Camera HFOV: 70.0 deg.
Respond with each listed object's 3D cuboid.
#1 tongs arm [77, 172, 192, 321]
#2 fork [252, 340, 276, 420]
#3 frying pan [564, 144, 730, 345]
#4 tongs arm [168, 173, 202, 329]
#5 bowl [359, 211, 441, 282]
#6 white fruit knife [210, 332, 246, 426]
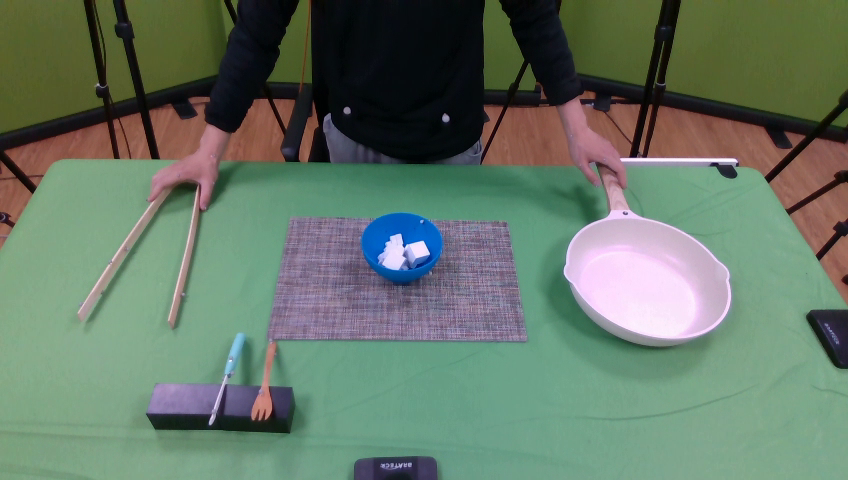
[{"bbox_3d":[-0.535,-0.002,1.147,0.051,0.026,0.382,8,45,1],"label":"tongs arm"},{"bbox_3d":[-0.242,0.211,0.932,0.028,0.019,0.206,-8,27,-5],"label":"fork"},{"bbox_3d":[0.396,-0.008,1.179,0.307,0.103,0.484,0,55,-5],"label":"frying pan"},{"bbox_3d":[-0.454,0.006,1.153,0.028,0.028,0.385,-4,47,-6],"label":"tongs arm"},{"bbox_3d":[-0.045,0.026,1.125,0.151,0.077,0.150,2,46,-2],"label":"bowl"},{"bbox_3d":[-0.301,0.206,0.930,0.016,0.027,0.206,5,29,-7],"label":"white fruit knife"}]
